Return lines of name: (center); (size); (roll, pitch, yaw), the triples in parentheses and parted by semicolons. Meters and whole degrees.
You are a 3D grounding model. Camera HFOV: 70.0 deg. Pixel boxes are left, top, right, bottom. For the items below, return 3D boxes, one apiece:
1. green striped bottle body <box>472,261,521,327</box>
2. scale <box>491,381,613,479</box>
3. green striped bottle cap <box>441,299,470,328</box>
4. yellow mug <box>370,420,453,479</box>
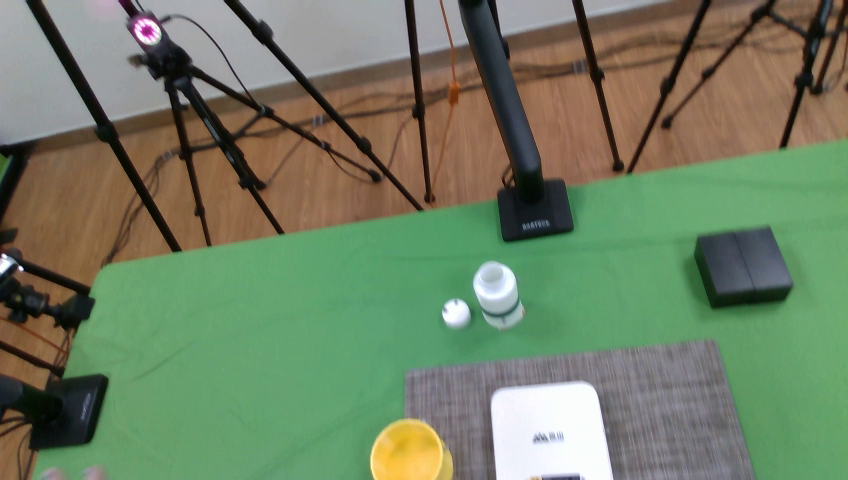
green striped bottle body: (0.109, 0.078, 0.908); (0.063, 0.120, 0.062); (-8, 55, 11)
scale: (0.168, 0.288, 0.799); (0.148, 0.032, 0.199); (-9, 56, 11)
green striped bottle cap: (0.051, 0.116, 0.965); (0.044, 0.020, 0.044); (-6, 62, 11)
yellow mug: (-0.021, 0.315, 0.815); (0.099, 0.064, 0.130); (7, 60, 21)
